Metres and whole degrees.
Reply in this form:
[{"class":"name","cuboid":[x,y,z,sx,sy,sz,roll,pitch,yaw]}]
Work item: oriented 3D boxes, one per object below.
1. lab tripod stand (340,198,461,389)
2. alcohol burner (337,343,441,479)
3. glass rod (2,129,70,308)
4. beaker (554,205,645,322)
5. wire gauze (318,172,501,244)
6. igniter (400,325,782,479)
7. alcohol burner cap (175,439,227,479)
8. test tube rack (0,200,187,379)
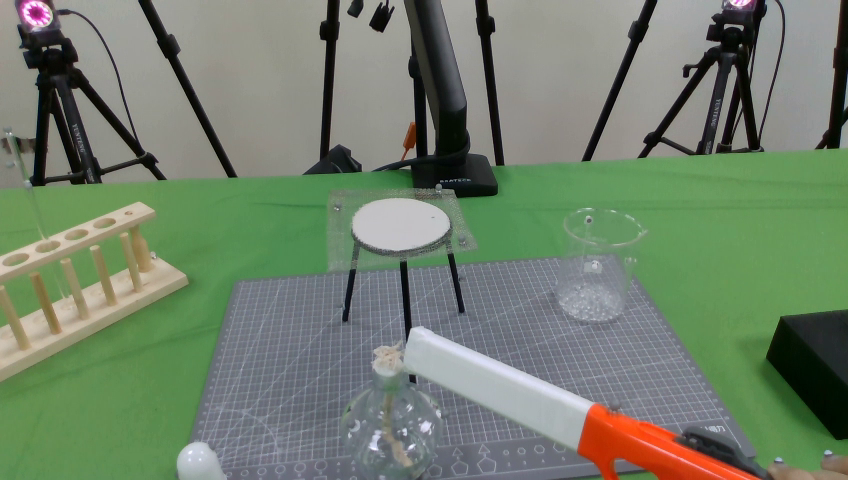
[{"class":"lab tripod stand","cuboid":[-0.019,0.041,0.560,0.148,0.132,0.147,1,33,0]},{"class":"alcohol burner","cuboid":[-0.026,0.122,0.449,0.078,0.120,0.077,1,32,0]},{"class":"glass rod","cuboid":[-0.366,-0.011,0.574,0.008,0.201,0.008,3,34,-2]},{"class":"beaker","cuboid":[0.173,0.025,0.613,0.084,0.101,0.073,0,33,1]},{"class":"wire gauze","cuboid":[-0.016,-0.028,0.512,0.125,0.011,0.120,-9,29,-27]},{"class":"igniter","cuboid":[0.100,0.110,0.341,0.274,0.057,0.025,19,13,32]},{"class":"alcohol burner cap","cuboid":[-0.167,0.167,0.447,0.034,0.048,0.033,1,32,0]},{"class":"test tube rack","cuboid":[-0.370,0.052,0.599,0.066,0.086,0.242,24,39,33]}]
